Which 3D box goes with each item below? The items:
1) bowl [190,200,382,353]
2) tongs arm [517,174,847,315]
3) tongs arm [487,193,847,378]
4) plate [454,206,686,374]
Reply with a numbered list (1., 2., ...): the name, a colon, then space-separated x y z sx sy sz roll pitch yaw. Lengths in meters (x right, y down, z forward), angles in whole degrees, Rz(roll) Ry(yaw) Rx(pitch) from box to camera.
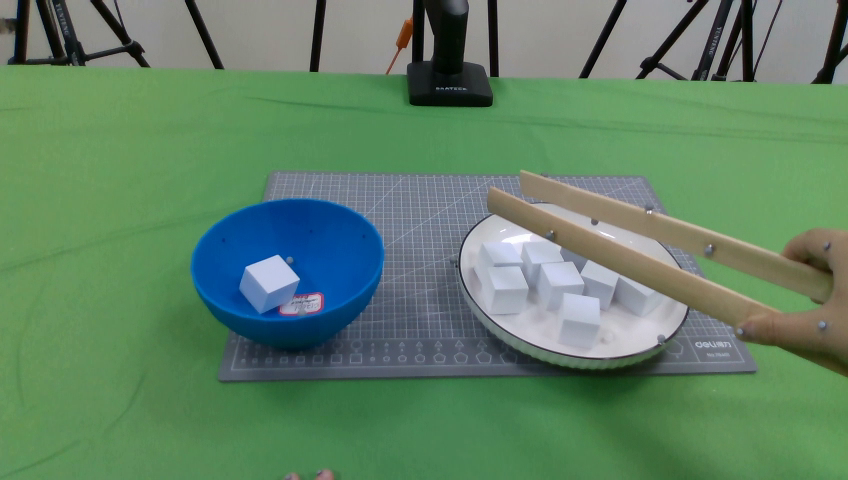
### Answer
1. bowl: -0.110 0.041 0.506 0.151 0.077 0.150 3 39 -2
2. tongs arm: 0.217 0.025 0.419 0.381 0.027 0.051 23 43 32
3. tongs arm: 0.198 0.038 0.403 0.384 0.028 0.028 25 41 34
4. plate: 0.130 0.044 0.557 0.208 0.039 0.205 3 39 -2
